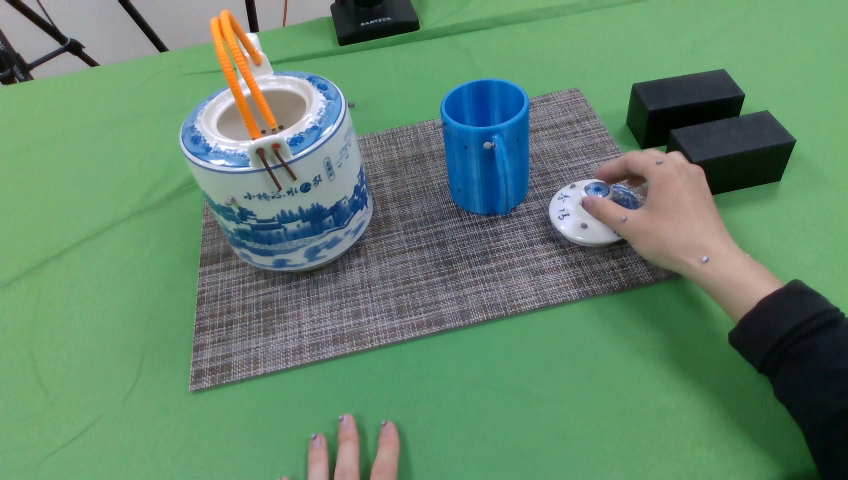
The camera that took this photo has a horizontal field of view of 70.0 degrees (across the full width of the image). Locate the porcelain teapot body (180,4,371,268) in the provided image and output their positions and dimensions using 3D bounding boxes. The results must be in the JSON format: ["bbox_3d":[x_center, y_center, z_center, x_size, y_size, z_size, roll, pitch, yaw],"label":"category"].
[{"bbox_3d":[-0.144,-0.108,0.554,0.145,0.227,0.203,-19,48,-8],"label":"porcelain teapot body"}]

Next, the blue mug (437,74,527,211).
[{"bbox_3d":[0.062,-0.083,0.581,0.082,0.107,0.115,-13,47,-3],"label":"blue mug"}]

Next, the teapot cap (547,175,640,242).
[{"bbox_3d":[0.158,-0.036,0.565,0.085,0.044,0.084,-2,46,3],"label":"teapot cap"}]
